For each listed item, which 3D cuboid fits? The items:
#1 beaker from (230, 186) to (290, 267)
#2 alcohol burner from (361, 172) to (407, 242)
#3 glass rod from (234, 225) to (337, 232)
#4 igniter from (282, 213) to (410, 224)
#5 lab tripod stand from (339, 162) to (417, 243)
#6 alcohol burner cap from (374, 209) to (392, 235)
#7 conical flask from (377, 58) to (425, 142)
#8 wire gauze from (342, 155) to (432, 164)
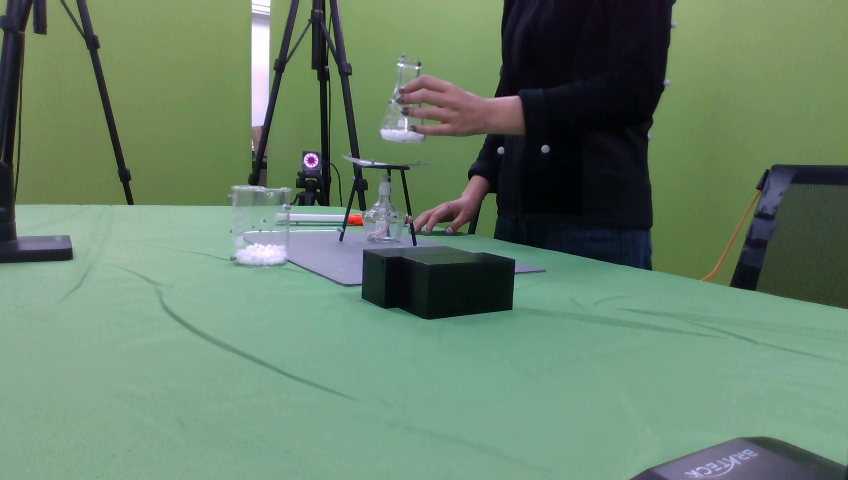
[{"bbox_3d":[-0.209,-0.019,0.778,0.074,0.100,0.084,3,6,4],"label":"beaker"},{"bbox_3d":[-0.067,-0.056,1.030,0.078,0.119,0.078,3,9,0],"label":"alcohol burner"},{"bbox_3d":[-0.256,-0.023,1.136,0.201,0.008,0.008,-3,9,-33],"label":"glass rod"},{"bbox_3d":[-0.159,-0.046,1.287,0.278,0.025,0.057,-1,-2,-21],"label":"igniter"},{"bbox_3d":[-0.067,-0.065,1.027,0.148,0.131,0.148,4,7,0],"label":"lab tripod stand"},{"bbox_3d":[-0.078,-0.035,1.148,0.034,0.048,0.034,3,7,0],"label":"alcohol burner cap"},{"bbox_3d":[-0.031,-0.216,0.936,0.075,0.122,0.075,6,12,-1],"label":"conical flask"},{"bbox_3d":[-0.065,-0.131,1.017,0.122,0.011,0.124,0,9,-27],"label":"wire gauze"}]
